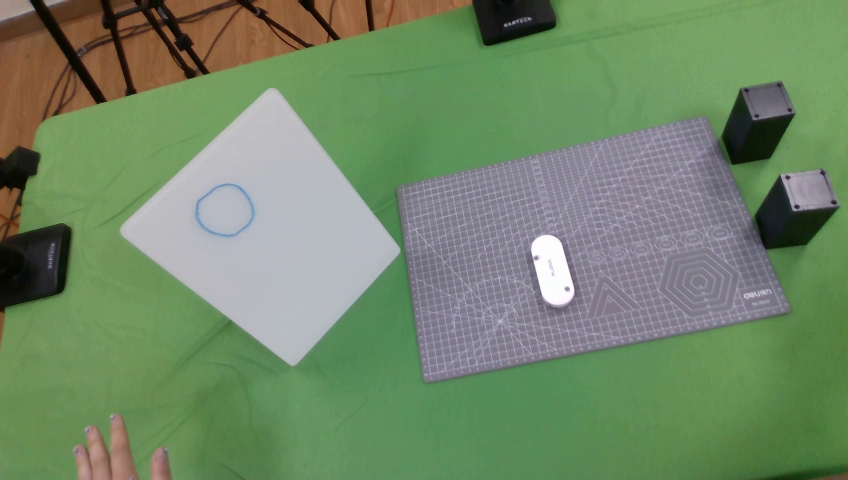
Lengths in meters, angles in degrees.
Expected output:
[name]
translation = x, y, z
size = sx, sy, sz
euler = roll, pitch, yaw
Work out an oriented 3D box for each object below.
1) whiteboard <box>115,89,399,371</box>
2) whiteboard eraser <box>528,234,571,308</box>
[whiteboard]
translation = -0.211, -0.018, 0.767
size = 0.217, 0.309, 0.142
euler = -48, 45, -12
[whiteboard eraser]
translation = 0.162, 0.039, 0.786
size = 0.041, 0.019, 0.100
euler = -12, 64, 5
